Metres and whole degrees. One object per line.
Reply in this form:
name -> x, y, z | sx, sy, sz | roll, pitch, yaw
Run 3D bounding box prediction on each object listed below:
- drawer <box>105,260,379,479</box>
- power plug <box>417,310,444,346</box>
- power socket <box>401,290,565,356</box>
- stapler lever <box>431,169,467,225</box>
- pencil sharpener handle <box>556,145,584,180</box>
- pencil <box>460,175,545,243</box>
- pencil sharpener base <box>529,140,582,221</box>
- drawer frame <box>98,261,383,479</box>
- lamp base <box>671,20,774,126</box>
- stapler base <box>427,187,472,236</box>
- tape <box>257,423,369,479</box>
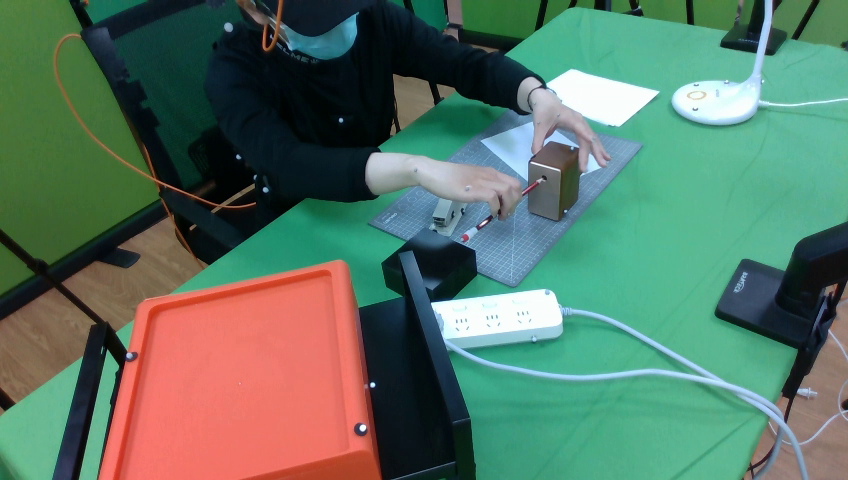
drawer -> -0.150, 0.127, 0.525 | 0.195, 0.073, 0.210 | -11, 41, -5
power plug -> 0.006, 0.122, 0.785 | 0.035, 0.053, 0.072 | -1, 40, 8
power socket -> 0.080, 0.112, 0.822 | 0.227, 0.033, 0.072 | -6, 41, 0
stapler lever -> 0.043, -0.074, 1.010 | 0.026, 0.040, 0.118 | 10, 44, 21
pencil sharpener handle -> 0.247, -0.135, 1.004 | 0.035, 0.068, 0.031 | 2, 36, 44
pencil -> 0.120, -0.050, 0.889 | 0.012, 0.012, 0.195 | 29, 52, 35
pencil sharpener base -> 0.214, -0.097, 0.986 | 0.061, 0.107, 0.077 | 21, 48, 30
drawer frame -> -0.148, 0.129, 0.520 | 0.202, 0.083, 0.212 | -12, 41, -6
lamp base -> 0.581, -0.332, 1.154 | 0.179, 0.181, 0.160 | 2, 41, 7
stapler base -> 0.045, -0.057, 1.028 | 0.041, 0.024, 0.130 | 10, 44, 20
tape -> -0.121, 0.262, 0.660 | 0.117, 0.053, 0.116 | -4, 40, 4
